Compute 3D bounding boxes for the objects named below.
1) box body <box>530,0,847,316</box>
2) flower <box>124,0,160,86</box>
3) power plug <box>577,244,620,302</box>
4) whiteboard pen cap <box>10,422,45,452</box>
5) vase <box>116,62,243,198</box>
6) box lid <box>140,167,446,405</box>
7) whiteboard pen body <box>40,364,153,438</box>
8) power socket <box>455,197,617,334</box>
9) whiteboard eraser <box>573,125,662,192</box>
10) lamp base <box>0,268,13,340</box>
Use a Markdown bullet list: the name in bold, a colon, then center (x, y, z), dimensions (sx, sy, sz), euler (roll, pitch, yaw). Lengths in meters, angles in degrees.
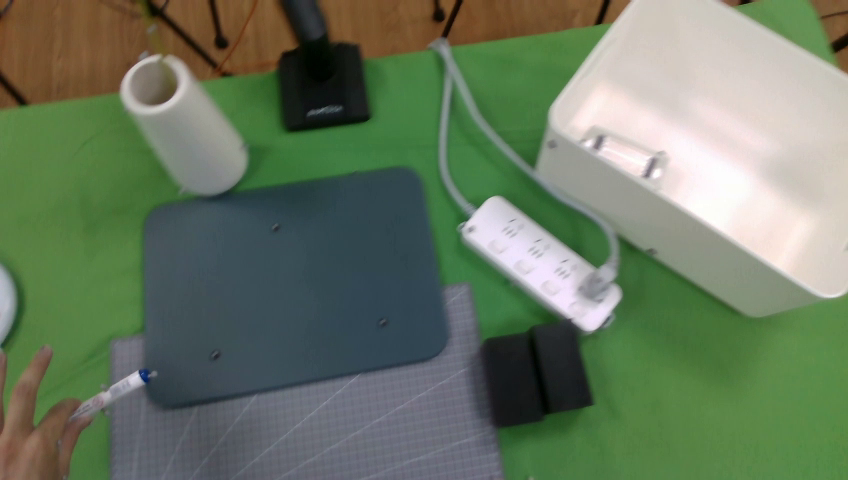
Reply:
- **box body**: center (0.341, -0.103, 0.744), dimensions (0.363, 0.161, 0.253), euler (34, 75, 10)
- **flower**: center (-0.285, -0.170, 0.656), dimensions (0.044, 0.364, 0.038), euler (26, 57, 14)
- **power plug**: center (0.218, 0.046, 0.739), dimensions (0.072, 0.053, 0.035), euler (-38, 74, -16)
- **whiteboard pen cap**: center (-0.385, 0.192, 0.594), dimensions (0.033, 0.018, 0.018), euler (-31, 74, -3)
- **vase**: center (-0.288, -0.127, 0.729), dimensions (0.098, 0.201, 0.097), euler (0, 70, -1)
- **box lid**: center (-0.169, 0.049, 0.771), dimensions (0.372, 0.015, 0.261), euler (-10, 72, -3)
- **whiteboard pen body**: center (-0.334, 0.165, 0.599), dimensions (0.141, 0.017, 0.017), euler (-31, 74, -5)
- **power socket**: center (0.142, 0.030, 0.768), dimensions (0.226, 0.033, 0.072), euler (38, 75, 12)
- **whiteboard eraser**: center (0.250, -0.104, 0.798), dimensions (0.112, 0.042, 0.055), euler (25, 76, 6)
- **lamp base**: center (-0.599, 0.057, 0.676), dimensions (0.160, 0.181, 0.178), euler (-39, 73, -12)
